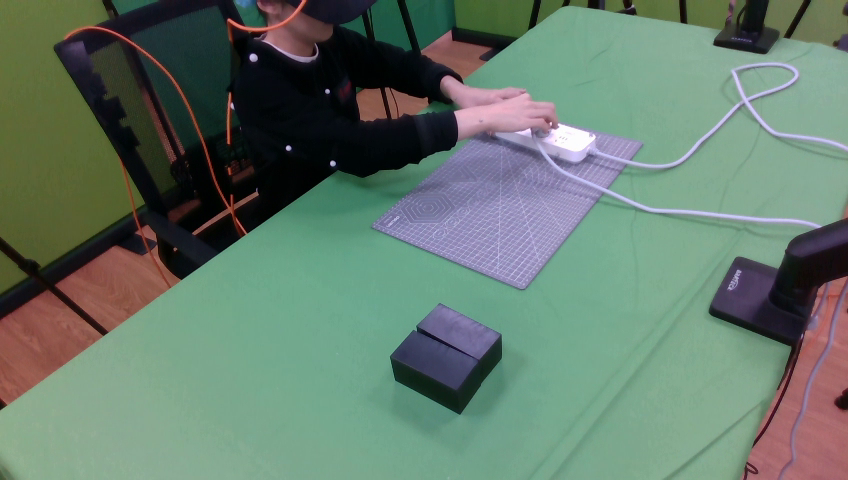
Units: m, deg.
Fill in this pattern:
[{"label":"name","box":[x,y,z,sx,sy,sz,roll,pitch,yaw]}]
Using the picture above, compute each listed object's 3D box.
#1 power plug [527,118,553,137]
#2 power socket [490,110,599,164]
[{"label":"power plug","box":[0.210,-0.200,1.132,0.073,0.053,0.035,-29,44,-23]},{"label":"power socket","box":[0.226,-0.201,1.165,0.225,0.033,0.072,27,50,33]}]
